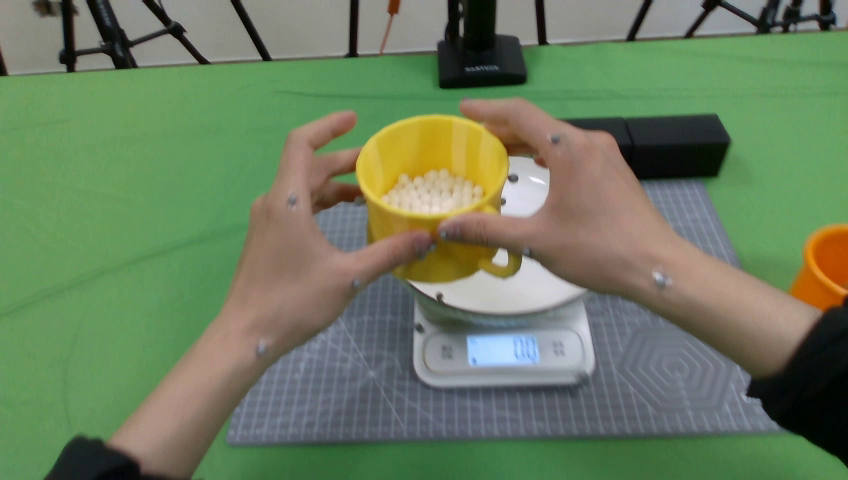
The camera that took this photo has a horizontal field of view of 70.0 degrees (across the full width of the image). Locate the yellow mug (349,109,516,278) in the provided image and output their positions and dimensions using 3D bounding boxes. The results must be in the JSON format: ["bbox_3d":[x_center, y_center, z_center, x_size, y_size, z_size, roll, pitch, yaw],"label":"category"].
[{"bbox_3d":[0.013,-0.025,0.404,0.100,0.064,0.129,-35,56,-25],"label":"yellow mug"}]

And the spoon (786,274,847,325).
[{"bbox_3d":[0.382,0.015,0.470,0.022,0.194,0.041,28,41,-32],"label":"spoon"}]

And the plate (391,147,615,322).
[{"bbox_3d":[0.062,-0.007,0.544,0.209,0.038,0.207,-1,46,2],"label":"plate"}]

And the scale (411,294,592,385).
[{"bbox_3d":[0.064,0.036,0.548,0.148,0.032,0.199,-2,46,2],"label":"scale"}]
